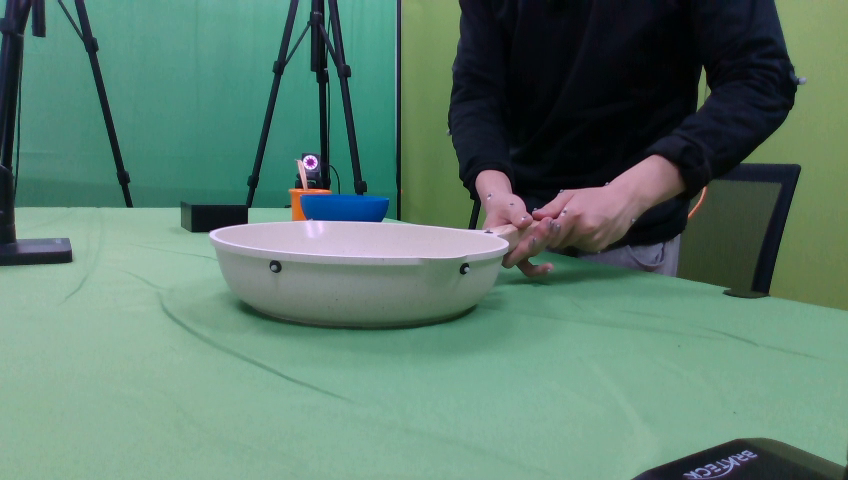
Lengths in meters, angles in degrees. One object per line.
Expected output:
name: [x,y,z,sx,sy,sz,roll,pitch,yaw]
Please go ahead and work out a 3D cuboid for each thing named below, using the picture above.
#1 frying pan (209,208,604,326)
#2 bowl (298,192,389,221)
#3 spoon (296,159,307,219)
frying pan: [0.026,0.005,0.664,0.490,0.102,0.305,-12,14,-30]
bowl: [-0.136,-0.037,1.018,0.151,0.077,0.151,3,7,0]
spoon: [-0.264,-0.113,1.338,0.042,0.193,0.021,0,-37,-21]
